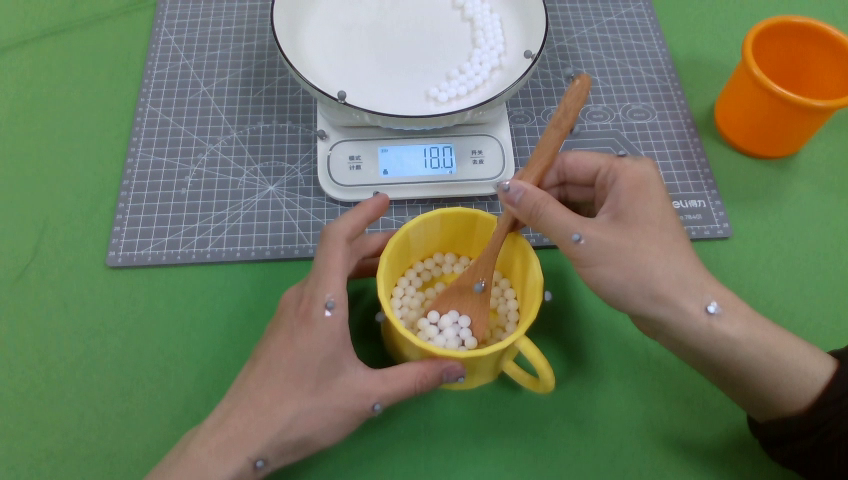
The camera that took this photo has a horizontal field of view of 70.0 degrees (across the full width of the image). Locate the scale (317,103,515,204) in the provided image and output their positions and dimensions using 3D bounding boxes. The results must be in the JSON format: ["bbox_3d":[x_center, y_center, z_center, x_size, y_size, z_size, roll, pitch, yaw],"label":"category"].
[{"bbox_3d":[-0.011,-0.122,0.485,0.149,0.032,0.199,-3,62,-3],"label":"scale"}]

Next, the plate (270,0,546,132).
[{"bbox_3d":[-0.012,-0.163,0.470,0.209,0.038,0.207,2,62,-2],"label":"plate"}]

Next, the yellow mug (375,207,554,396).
[{"bbox_3d":[0.031,0.048,0.380,0.100,0.064,0.130,-40,71,-19],"label":"yellow mug"}]

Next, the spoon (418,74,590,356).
[{"bbox_3d":[0.050,-0.008,0.362,0.041,0.022,0.194,32,106,20],"label":"spoon"}]
